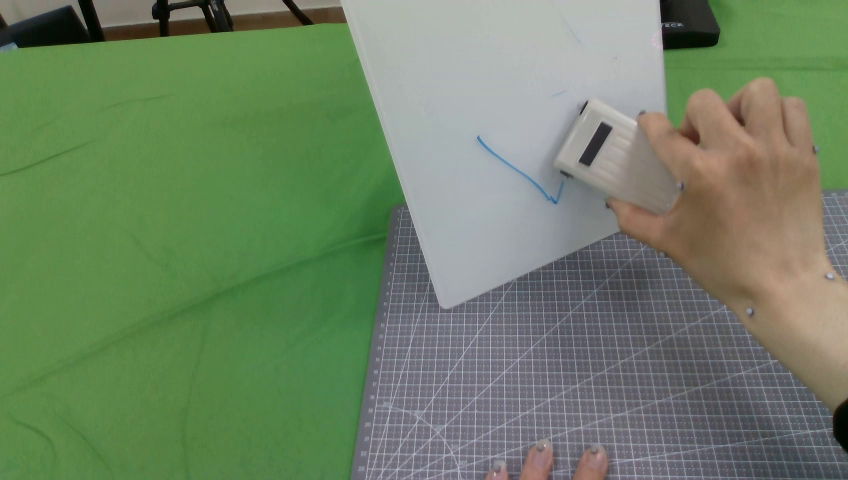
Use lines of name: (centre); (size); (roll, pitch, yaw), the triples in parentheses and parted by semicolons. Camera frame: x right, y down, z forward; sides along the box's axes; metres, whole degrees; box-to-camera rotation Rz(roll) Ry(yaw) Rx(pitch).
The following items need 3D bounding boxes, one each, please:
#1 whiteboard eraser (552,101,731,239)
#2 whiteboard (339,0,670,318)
whiteboard eraser: (0.152, -0.050, 0.431); (0.112, 0.056, 0.042); (28, 19, 5)
whiteboard: (0.050, -0.136, 0.467); (0.217, 0.308, 0.142); (-23, 30, -9)
